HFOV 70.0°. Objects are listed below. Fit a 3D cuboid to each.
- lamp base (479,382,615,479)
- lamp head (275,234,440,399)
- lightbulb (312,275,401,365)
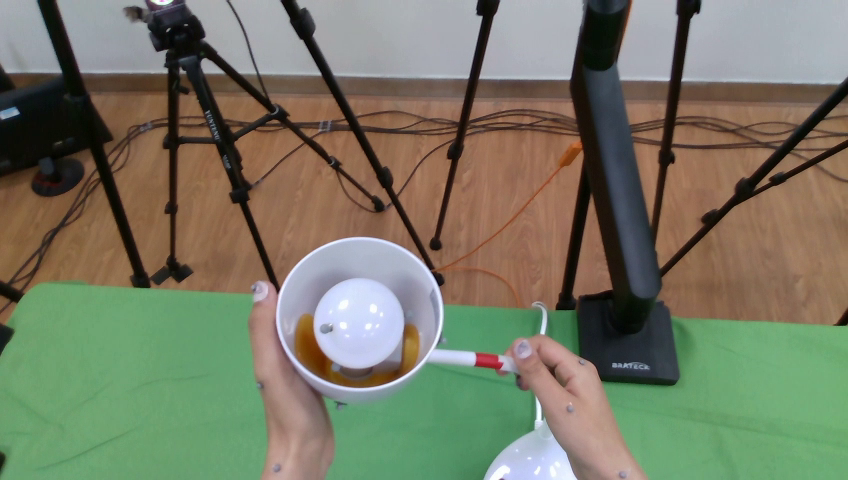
[{"bbox_3d":[0.133,0.236,0.623,0.161,0.182,0.177,-9,50,-3],"label":"lamp base"},{"bbox_3d":[-0.045,0.070,0.453,0.112,0.124,0.111,1,61,-1],"label":"lamp head"},{"bbox_3d":[-0.048,0.064,0.429,0.059,0.108,0.059,3,65,-7],"label":"lightbulb"}]
